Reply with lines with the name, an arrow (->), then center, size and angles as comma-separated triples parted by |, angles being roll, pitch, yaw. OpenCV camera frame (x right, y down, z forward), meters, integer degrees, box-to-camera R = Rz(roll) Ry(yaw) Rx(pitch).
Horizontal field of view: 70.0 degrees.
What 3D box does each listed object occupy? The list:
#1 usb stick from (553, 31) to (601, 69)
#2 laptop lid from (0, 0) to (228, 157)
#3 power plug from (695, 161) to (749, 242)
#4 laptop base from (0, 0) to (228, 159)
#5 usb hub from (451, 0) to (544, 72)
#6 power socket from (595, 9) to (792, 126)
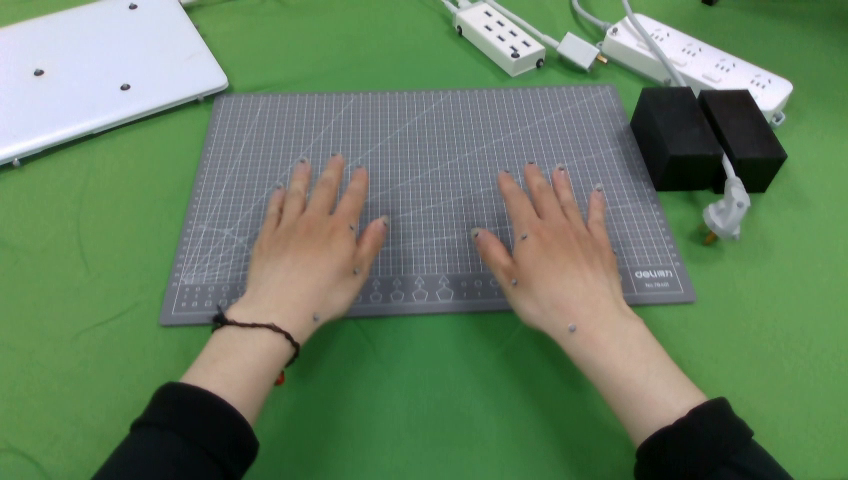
usb stick -> 0.183, -0.221, 0.711 | 0.059, 0.027, 0.021 | 27, 12, 2
laptop lid -> -0.424, -0.189, 0.669 | 0.357, 0.013, 0.239 | -24, 59, -18
power plug -> 0.273, -0.031, 0.555 | 0.035, 0.053, 0.072 | 36, 45, 2
laptop base -> -0.425, -0.183, 0.680 | 0.355, 0.023, 0.233 | -25, 60, -19
usb hub -> 0.087, -0.252, 0.735 | 0.049, 0.025, 0.124 | -27, 57, -20
power socket -> 0.306, -0.202, 0.694 | 0.225, 0.033, 0.072 | 38, 60, 25
